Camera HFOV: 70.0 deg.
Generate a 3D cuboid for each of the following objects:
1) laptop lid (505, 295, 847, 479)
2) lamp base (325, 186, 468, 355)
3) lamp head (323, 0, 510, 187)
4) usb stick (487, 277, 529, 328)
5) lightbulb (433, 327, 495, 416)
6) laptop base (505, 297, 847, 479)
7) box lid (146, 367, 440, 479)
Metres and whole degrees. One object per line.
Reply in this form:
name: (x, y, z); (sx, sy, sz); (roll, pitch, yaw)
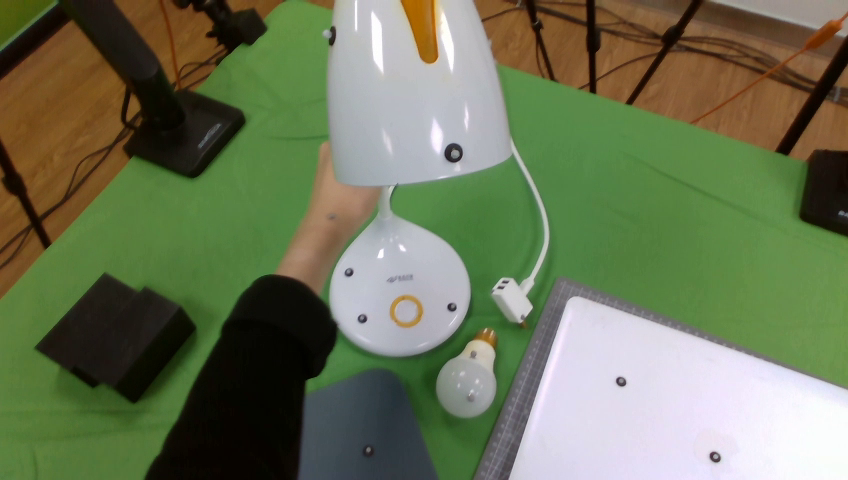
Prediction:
laptop lid: (0.274, 0.206, 0.578); (0.355, 0.013, 0.240); (20, 63, 13)
lamp base: (-0.036, 0.004, 0.625); (0.161, 0.182, 0.177); (-17, 57, -11)
lamp head: (-0.011, -0.101, 0.362); (0.112, 0.112, 0.123); (-9, 102, 2)
usb stick: (0.095, 0.070, 0.661); (0.027, 0.059, 0.021); (-45, 25, -28)
lightbulb: (0.048, 0.131, 0.623); (0.059, 0.060, 0.107); (19, 44, 13)
laptop base: (0.276, 0.211, 0.589); (0.353, 0.023, 0.234); (19, 63, 12)
box lid: (-0.088, 0.311, 0.533); (0.263, 0.015, 0.367); (-19, 61, -11)
